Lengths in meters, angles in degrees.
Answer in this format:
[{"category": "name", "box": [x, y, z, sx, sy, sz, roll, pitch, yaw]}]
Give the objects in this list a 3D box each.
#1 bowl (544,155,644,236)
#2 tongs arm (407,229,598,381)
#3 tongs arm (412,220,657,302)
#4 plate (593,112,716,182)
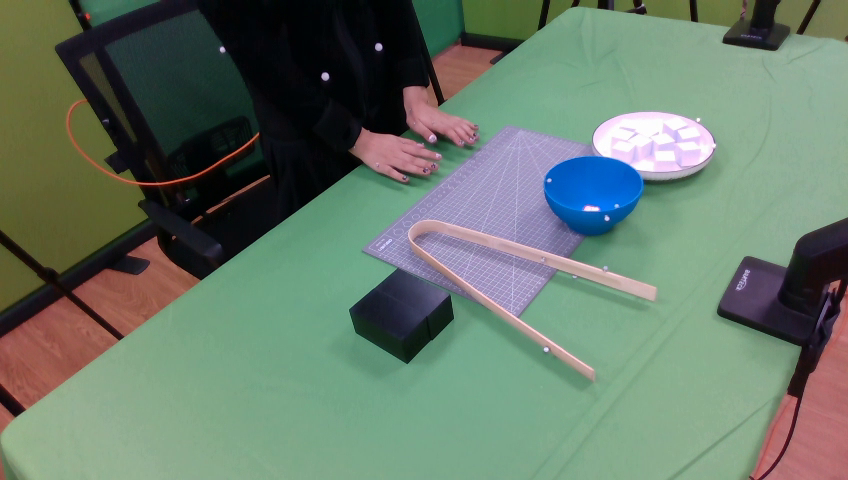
[{"category": "bowl", "box": [0.266, -0.061, 0.957, 0.151, 0.077, 0.150, -5, 41, 5]}, {"category": "tongs arm", "box": [0.092, 0.081, 0.862, 0.028, 0.028, 0.384, -38, 47, -20]}, {"category": "tongs arm", "box": [0.149, 0.032, 0.906, 0.382, 0.026, 0.051, 20, 51, 30]}, {"category": "plate", "box": [0.408, -0.163, 1.084, 0.207, 0.039, 0.206, -4, 40, 4]}]
